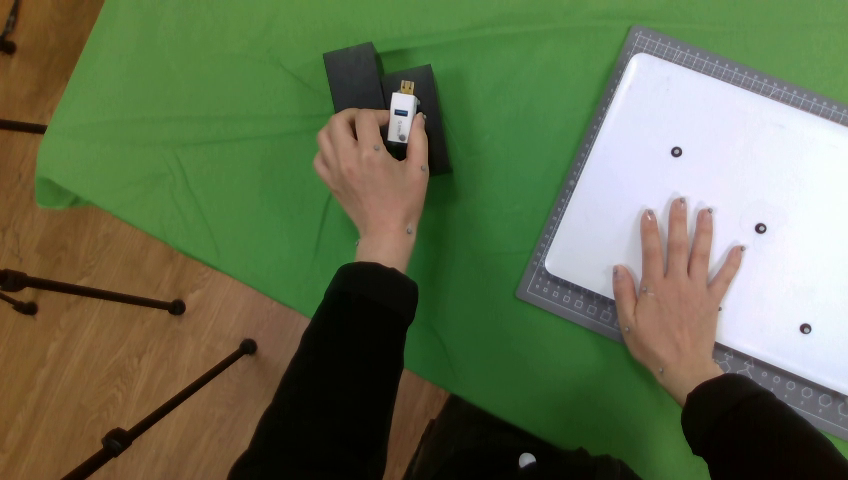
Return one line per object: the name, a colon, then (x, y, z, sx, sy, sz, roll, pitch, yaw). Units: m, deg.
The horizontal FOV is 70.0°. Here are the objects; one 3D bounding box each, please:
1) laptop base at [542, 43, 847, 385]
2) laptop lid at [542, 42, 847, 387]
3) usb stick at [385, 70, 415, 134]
laptop base: (0.321, -0.023, 0.591, 0.354, 0.023, 0.235, 22, 96, 5)
laptop lid: (0.319, -0.020, 0.581, 0.356, 0.013, 0.242, 24, 96, 5)
usb stick: (-0.022, -0.130, 0.563, 0.021, 0.027, 0.059, 9, 95, 4)
